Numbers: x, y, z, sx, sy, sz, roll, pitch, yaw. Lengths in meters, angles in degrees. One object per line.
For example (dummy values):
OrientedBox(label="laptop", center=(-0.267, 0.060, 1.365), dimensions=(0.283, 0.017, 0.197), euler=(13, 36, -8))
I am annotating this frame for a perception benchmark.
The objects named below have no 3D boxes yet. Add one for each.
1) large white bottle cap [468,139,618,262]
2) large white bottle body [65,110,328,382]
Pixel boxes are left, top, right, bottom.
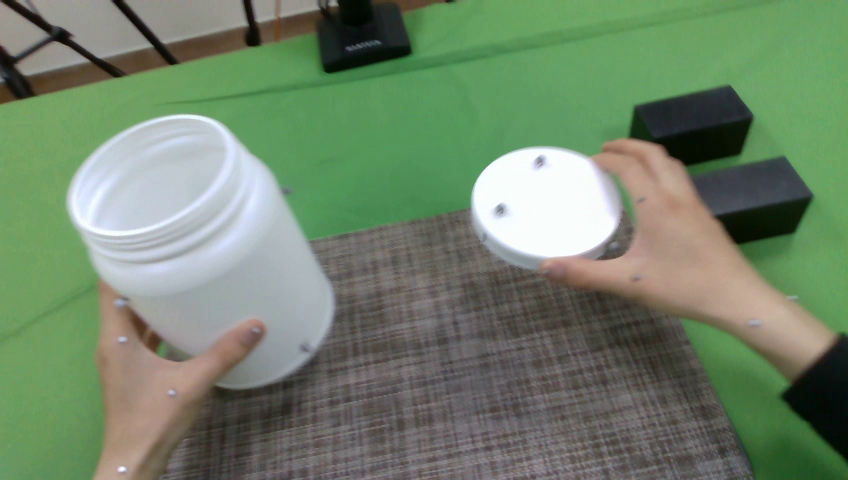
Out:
OrientedBox(label="large white bottle cap", center=(0.092, -0.034, 0.471), dimensions=(0.115, 0.018, 0.113), euler=(-2, 54, 3))
OrientedBox(label="large white bottle body", center=(-0.158, 0.009, 0.449), dimensions=(0.130, 0.186, 0.129), euler=(-6, 51, 7))
